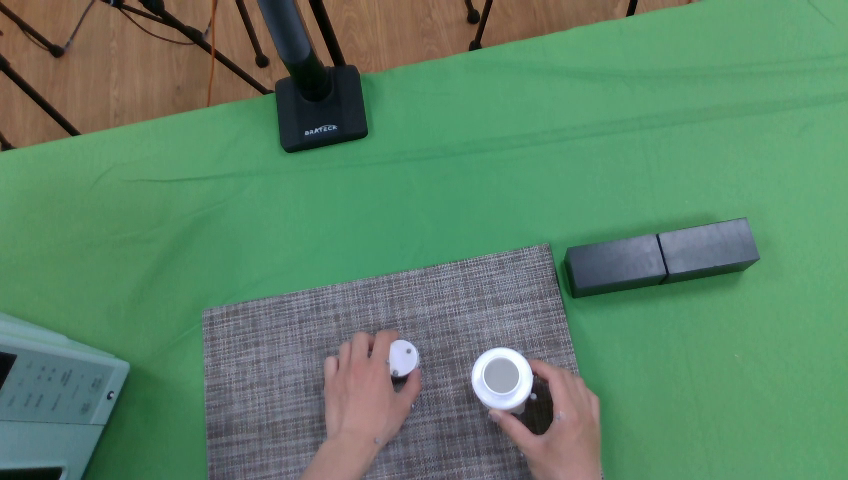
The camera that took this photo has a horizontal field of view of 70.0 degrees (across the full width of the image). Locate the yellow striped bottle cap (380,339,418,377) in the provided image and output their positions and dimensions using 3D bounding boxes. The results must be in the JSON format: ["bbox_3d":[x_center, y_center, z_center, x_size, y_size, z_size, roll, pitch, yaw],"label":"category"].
[{"bbox_3d":[-0.030,0.140,0.723,0.044,0.019,0.044,-3,74,10],"label":"yellow striped bottle cap"}]

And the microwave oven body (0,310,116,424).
[{"bbox_3d":[-0.595,0.268,0.626,0.325,0.262,0.440,16,76,11],"label":"microwave oven body"}]

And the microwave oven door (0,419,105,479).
[{"bbox_3d":[-0.471,0.343,0.581,0.039,0.245,0.354,15,75,13],"label":"microwave oven door"}]

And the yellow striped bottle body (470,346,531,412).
[{"bbox_3d":[0.082,0.150,0.650,0.063,0.121,0.062,-2,71,7],"label":"yellow striped bottle body"}]

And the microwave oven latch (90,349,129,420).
[{"bbox_3d":[-0.388,0.175,0.732,0.030,0.030,0.079,18,76,12],"label":"microwave oven latch"}]
